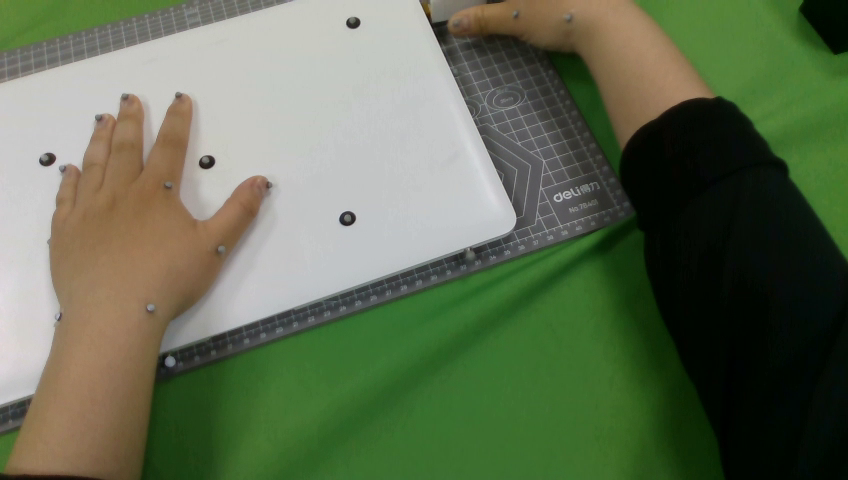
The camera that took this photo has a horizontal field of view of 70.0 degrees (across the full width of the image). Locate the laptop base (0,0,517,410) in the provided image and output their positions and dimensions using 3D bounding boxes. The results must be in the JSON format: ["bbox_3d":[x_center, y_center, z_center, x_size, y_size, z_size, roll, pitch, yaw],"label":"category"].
[{"bbox_3d":[-0.142,-0.047,0.413,0.355,0.023,0.233,-18,69,-7],"label":"laptop base"}]

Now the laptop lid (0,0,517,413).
[{"bbox_3d":[-0.141,-0.049,0.404,0.357,0.013,0.239,-17,68,-6],"label":"laptop lid"}]

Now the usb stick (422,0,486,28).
[{"bbox_3d":[0.016,-0.179,0.457,0.059,0.027,0.021,-17,61,-1],"label":"usb stick"}]
